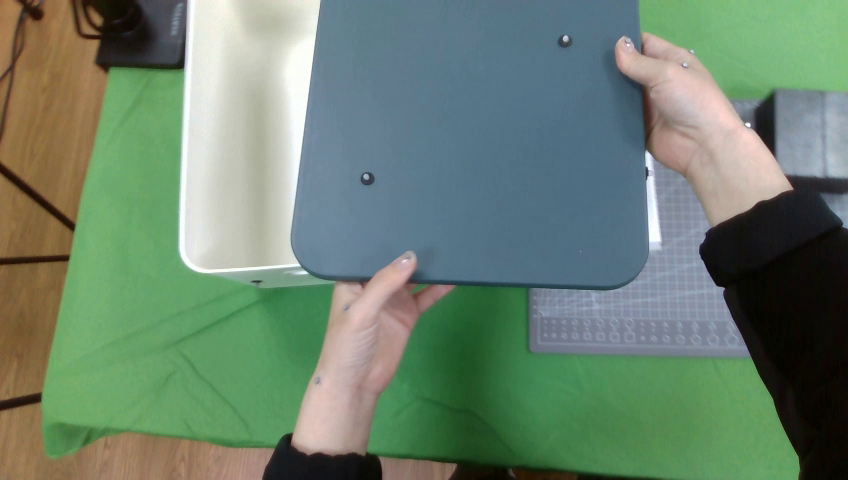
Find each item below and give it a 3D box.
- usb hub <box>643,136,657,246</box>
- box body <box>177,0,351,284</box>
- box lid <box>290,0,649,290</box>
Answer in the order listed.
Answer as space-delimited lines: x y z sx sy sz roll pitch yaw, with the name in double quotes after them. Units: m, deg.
0.228 -0.054 0.679 0.049 0.025 0.124 -4 78 3 "usb hub"
-0.104 -0.140 0.651 0.254 0.161 0.362 -5 78 2 "box body"
0.038 -0.143 0.487 0.263 0.015 0.369 1 73 5 "box lid"
